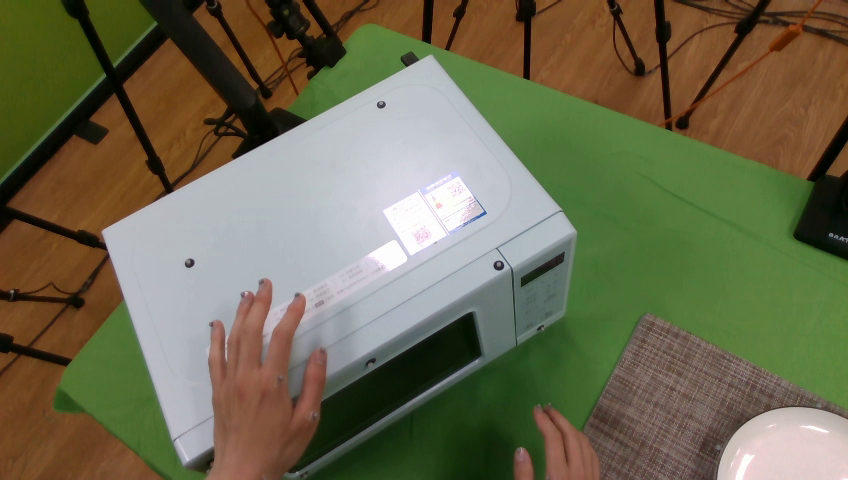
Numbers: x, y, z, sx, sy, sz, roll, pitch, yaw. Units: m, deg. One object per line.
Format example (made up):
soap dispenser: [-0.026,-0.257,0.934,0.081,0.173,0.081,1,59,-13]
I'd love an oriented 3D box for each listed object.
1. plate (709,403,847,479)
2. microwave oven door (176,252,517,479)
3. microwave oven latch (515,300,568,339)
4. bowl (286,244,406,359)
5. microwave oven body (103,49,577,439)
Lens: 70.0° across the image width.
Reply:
plate: [0.421,0.286,0.663,0.207,0.039,0.206,-4,62,7]
microwave oven door: [-0.056,0.158,0.677,0.356,0.246,0.039,-30,61,-7]
microwave oven latch: [0.149,0.096,0.791,0.079,0.030,0.030,-29,62,-5]
bowl: [-0.090,0.088,0.766,0.151,0.077,0.150,-4,58,7]
microwave oven body: [-0.091,0.033,0.754,0.442,0.262,0.323,-31,62,-6]
